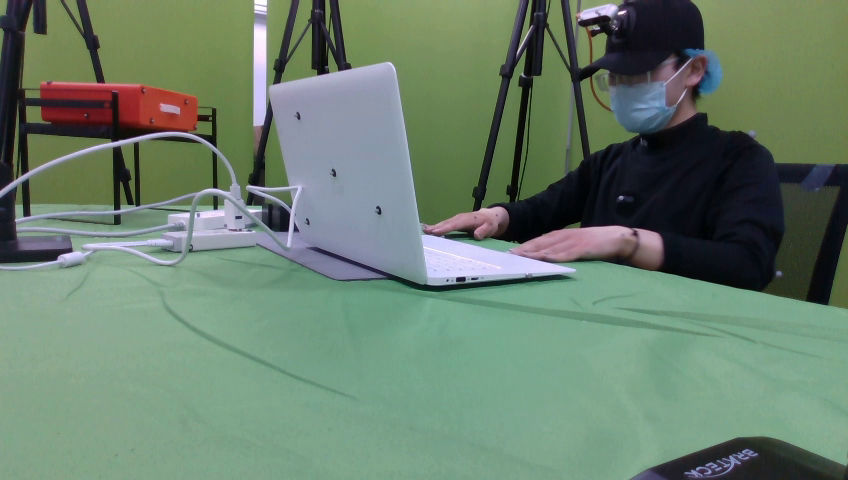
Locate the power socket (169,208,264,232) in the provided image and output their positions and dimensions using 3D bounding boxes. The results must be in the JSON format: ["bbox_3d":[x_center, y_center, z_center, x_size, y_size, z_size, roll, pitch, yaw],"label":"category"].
[{"bbox_3d":[-0.381,-0.038,1.128,0.072,0.032,0.227,4,8,17],"label":"power socket"}]

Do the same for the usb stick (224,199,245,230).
[{"bbox_3d":[-0.289,-0.033,0.924,0.027,0.059,0.021,11,13,38],"label":"usb stick"}]

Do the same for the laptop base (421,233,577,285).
[{"bbox_3d":[0.007,0.022,0.850,0.237,0.023,0.352,1,7,-34],"label":"laptop base"}]

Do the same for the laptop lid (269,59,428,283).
[{"bbox_3d":[-0.110,-0.087,0.752,0.013,0.241,0.355,-18,19,-30],"label":"laptop lid"}]

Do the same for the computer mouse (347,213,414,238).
[{"bbox_3d":[-0.079,-0.025,1.080,0.117,0.041,0.062,-5,11,-18],"label":"computer mouse"}]

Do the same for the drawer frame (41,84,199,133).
[{"bbox_3d":[-0.604,-0.264,1.225,0.213,0.082,0.202,3,8,8],"label":"drawer frame"}]

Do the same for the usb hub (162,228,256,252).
[{"bbox_3d":[-0.315,0.000,0.893,0.049,0.025,0.126,9,10,41],"label":"usb hub"}]

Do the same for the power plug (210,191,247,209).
[{"bbox_3d":[-0.386,-0.071,1.203,0.072,0.052,0.035,8,10,25],"label":"power plug"}]

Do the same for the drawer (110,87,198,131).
[{"bbox_3d":[-0.602,-0.263,1.225,0.211,0.073,0.195,3,8,10],"label":"drawer"}]
